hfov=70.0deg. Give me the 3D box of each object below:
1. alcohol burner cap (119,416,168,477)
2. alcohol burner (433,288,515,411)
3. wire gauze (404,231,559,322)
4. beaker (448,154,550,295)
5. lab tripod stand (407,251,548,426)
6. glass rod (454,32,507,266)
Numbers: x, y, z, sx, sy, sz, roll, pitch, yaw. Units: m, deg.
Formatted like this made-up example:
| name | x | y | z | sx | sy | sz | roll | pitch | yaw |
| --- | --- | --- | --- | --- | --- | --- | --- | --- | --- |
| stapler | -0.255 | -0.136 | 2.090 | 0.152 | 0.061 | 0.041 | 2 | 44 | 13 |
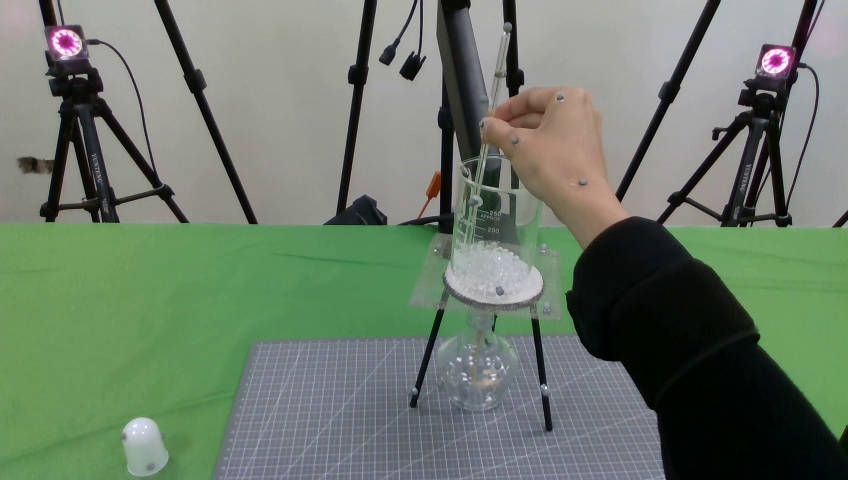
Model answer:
| name | x | y | z | sx | sy | sz | roll | pitch | yaw |
| --- | --- | --- | --- | --- | --- | --- | --- | --- | --- |
| alcohol burner cap | -0.231 | 0.166 | 0.495 | 0.034 | 0.048 | 0.033 | 1 | 29 | 0 |
| alcohol burner | 0.047 | 0.097 | 0.560 | 0.078 | 0.120 | 0.077 | 1 | 27 | 0 |
| wire gauze | 0.055 | 0.030 | 0.525 | 0.121 | 0.011 | 0.124 | 7 | 31 | 8 |
| beaker | 0.055 | -0.013 | 0.503 | 0.083 | 0.101 | 0.074 | 28 | 37 | 36 |
| lab tripod stand | 0.059 | 0.088 | 0.556 | 0.148 | 0.132 | 0.147 | 4 | 29 | -2 |
| glass rod | 0.043 | -0.063 | 0.481 | 0.008 | 0.201 | 0.008 | 7 | 32 | -4 |
